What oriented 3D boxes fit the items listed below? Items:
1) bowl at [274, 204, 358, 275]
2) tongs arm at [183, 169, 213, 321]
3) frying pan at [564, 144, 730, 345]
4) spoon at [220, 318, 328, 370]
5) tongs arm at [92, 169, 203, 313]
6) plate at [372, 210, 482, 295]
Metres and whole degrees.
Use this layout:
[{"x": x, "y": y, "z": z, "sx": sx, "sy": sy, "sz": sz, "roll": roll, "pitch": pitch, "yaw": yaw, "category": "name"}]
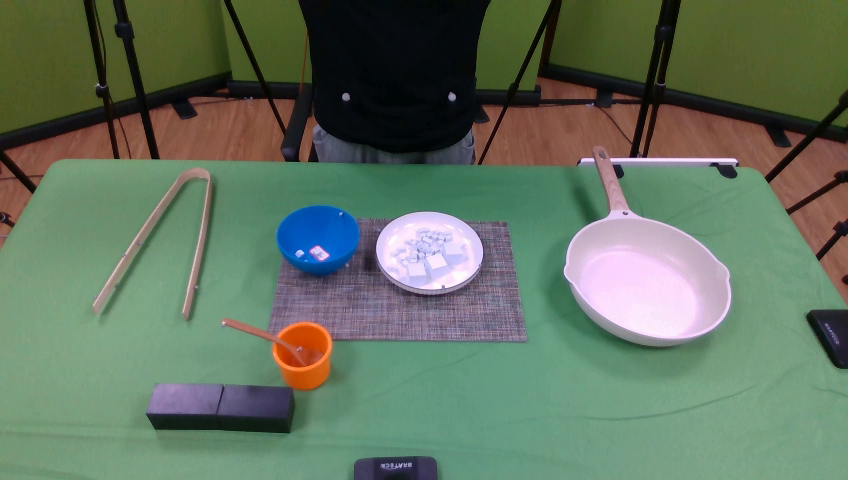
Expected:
[{"x": -0.197, "y": 0.012, "z": 1.126, "sx": 0.151, "sy": 0.077, "sz": 0.150, "roll": 2, "pitch": 46, "yaw": -2, "category": "bowl"}, {"x": -0.436, "y": -0.005, "z": 1.166, "sx": 0.028, "sy": 0.028, "sz": 0.385, "roll": -5, "pitch": 46, "yaw": -6, "category": "tongs arm"}, {"x": 0.396, "y": -0.008, "z": 1.179, "sx": 0.307, "sy": 0.103, "sz": 0.484, "roll": 0, "pitch": 55, "yaw": -5, "category": "frying pan"}, {"x": -0.229, "y": 0.158, "z": 0.940, "sx": 0.021, "sy": 0.195, "sz": 0.041, "roll": -36, "pitch": 39, "yaw": 22, "category": "spoon"}, {"x": -0.517, "y": -0.012, "z": 1.160, "sx": 0.051, "sy": 0.026, "sz": 0.382, "roll": 7, "pitch": 45, "yaw": 1, "category": "tongs arm"}, {"x": 0.005, "y": 0.028, "z": 1.155, "sx": 0.208, "sy": 0.039, "sz": 0.206, "roll": 2, "pitch": 46, "yaw": -2, "category": "plate"}]
